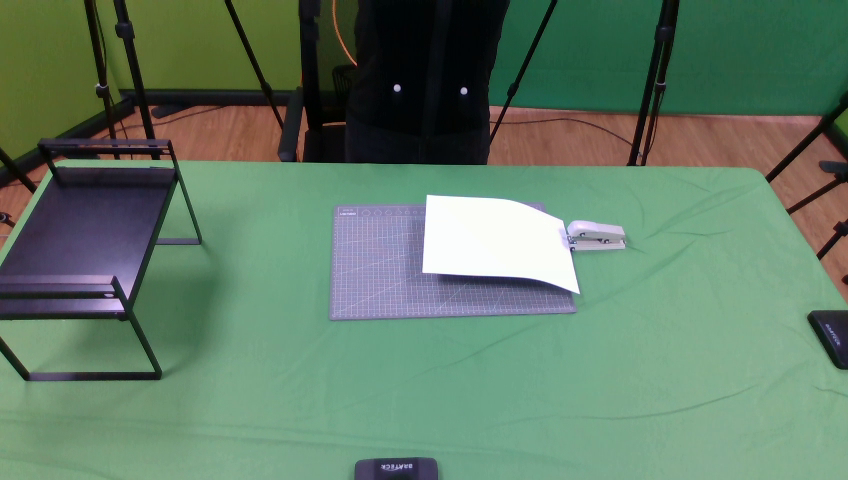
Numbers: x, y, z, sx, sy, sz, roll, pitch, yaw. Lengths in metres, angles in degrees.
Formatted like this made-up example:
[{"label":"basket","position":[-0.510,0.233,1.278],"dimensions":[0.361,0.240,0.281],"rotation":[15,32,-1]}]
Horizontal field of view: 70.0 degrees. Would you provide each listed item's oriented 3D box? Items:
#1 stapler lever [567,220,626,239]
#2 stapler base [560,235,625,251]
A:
[{"label":"stapler lever","position":[0.345,-0.020,1.209],"dimensions":[0.118,0.040,0.026],"rotation":[-2,46,-6]},{"label":"stapler base","position":[0.342,-0.002,1.225],"dimensions":[0.131,0.024,0.041],"rotation":[-1,45,-7]}]
